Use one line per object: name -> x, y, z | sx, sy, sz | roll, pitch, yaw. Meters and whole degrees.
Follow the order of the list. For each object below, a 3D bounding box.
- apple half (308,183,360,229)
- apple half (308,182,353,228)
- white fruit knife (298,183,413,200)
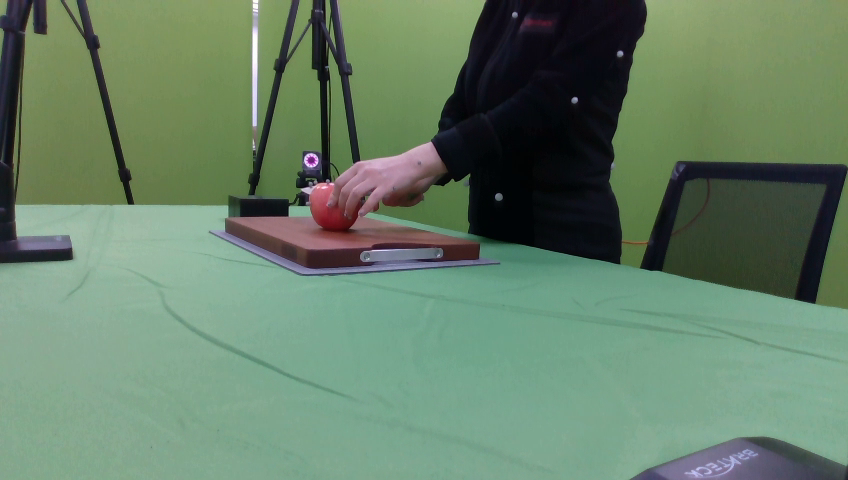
apple half -> -0.135, -0.052, 0.949 | 0.081, 0.074, 0.053 | 2, 10, -36
apple half -> -0.157, -0.058, 0.981 | 0.082, 0.081, 0.032 | -3, 9, -34
white fruit knife -> -0.107, -0.080, 0.992 | 0.208, 0.027, 0.016 | -1, 5, -34
